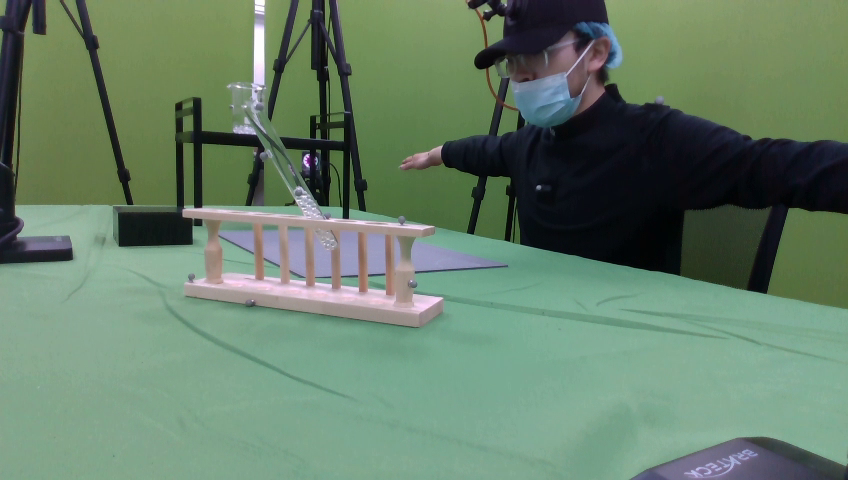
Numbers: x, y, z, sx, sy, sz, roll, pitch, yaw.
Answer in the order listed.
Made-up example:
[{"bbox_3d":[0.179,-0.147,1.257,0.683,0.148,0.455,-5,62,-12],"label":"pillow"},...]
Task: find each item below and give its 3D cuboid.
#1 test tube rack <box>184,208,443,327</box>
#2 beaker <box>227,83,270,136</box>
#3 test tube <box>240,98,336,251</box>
[{"bbox_3d":[-0.106,0.019,0.570,0.241,0.085,0.067,5,8,19],"label":"test tube rack"},{"bbox_3d":[-0.354,-0.262,1.224,0.084,0.100,0.073,-2,8,-28],"label":"beaker"},{"bbox_3d":[-0.115,-0.053,0.527,0.017,0.151,0.017,-21,24,10],"label":"test tube"}]
